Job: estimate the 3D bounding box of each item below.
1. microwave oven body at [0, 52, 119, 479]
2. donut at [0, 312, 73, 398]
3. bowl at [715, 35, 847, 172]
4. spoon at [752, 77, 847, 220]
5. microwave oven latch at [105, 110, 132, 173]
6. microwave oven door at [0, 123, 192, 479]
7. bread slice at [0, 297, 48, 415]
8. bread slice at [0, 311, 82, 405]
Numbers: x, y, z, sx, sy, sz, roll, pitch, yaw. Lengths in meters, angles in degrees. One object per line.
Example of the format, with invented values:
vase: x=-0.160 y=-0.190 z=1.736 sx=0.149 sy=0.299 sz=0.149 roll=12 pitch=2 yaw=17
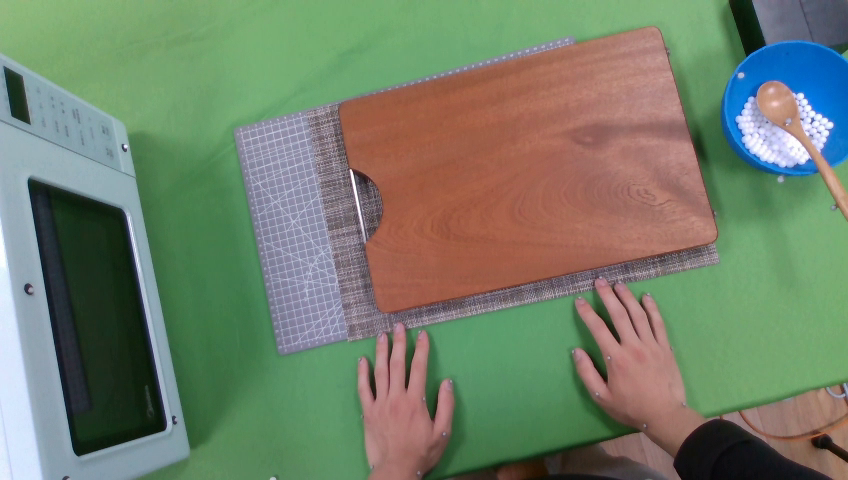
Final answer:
microwave oven body: x=-0.503 y=0.075 z=0.657 sx=0.326 sy=0.261 sz=0.440 roll=-16 pitch=82 yaw=3
donut: x=-0.448 y=0.128 z=0.680 sx=0.099 sy=0.048 sz=0.099 roll=-1 pitch=99 yaw=-9
bowl: x=0.397 y=-0.143 z=0.683 sx=0.151 sy=0.077 sz=0.151 roll=-1 pitch=83 yaw=6
spoon: x=0.407 y=-0.100 z=0.646 sx=0.041 sy=0.022 sz=0.192 roll=-14 pitch=59 yaw=2
microwave oven latch: x=-0.396 y=-0.121 z=0.767 sx=0.030 sy=0.029 sz=0.079 roll=-16 pitch=82 yaw=3
microwave oven door: x=-0.353 y=0.074 z=0.636 sx=0.039 sy=0.244 sz=0.354 roll=-16 pitch=81 yaw=4
bread slice: x=-0.458 y=0.137 z=0.631 sx=0.134 sy=0.018 sz=0.106 roll=-32 pitch=84 yaw=15
bread slice: x=-0.477 y=0.144 z=0.712 sx=0.132 sy=0.019 sz=0.105 roll=-7 pitch=90 yaw=-6
